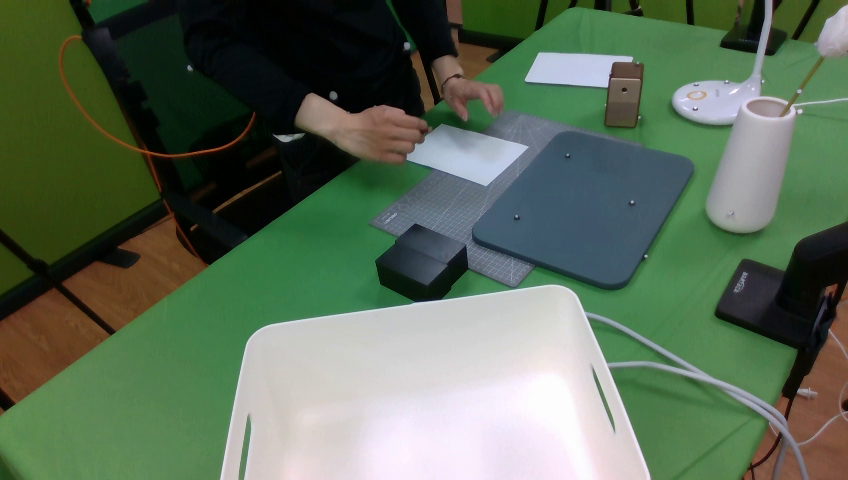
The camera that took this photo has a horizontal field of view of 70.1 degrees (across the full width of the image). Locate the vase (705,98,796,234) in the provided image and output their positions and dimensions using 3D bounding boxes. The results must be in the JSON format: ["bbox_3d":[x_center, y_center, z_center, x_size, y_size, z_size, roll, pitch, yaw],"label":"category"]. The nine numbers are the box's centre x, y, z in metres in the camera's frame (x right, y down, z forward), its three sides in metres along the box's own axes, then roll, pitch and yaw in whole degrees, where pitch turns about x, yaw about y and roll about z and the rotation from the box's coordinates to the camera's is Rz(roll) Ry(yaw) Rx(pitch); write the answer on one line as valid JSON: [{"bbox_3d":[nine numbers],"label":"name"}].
[{"bbox_3d":[0.480,-0.104,0.889,0.098,0.201,0.097,-4,42,4],"label":"vase"}]

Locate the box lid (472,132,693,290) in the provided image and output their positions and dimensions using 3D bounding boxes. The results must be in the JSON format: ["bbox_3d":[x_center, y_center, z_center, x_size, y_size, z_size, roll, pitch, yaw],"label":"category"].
[{"bbox_3d":[0.273,-0.068,1.020,0.261,0.015,0.372,20,47,28],"label":"box lid"}]

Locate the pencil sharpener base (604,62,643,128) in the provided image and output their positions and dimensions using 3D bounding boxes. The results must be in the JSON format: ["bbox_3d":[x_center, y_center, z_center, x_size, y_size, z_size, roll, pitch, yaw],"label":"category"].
[{"bbox_3d":[0.390,-0.284,1.182,0.061,0.107,0.076,7,42,17],"label":"pencil sharpener base"}]

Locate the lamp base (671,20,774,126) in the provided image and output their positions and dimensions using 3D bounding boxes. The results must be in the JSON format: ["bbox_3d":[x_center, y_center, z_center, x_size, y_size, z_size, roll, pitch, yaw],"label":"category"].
[{"bbox_3d":[0.581,-0.332,1.154,0.179,0.181,0.160,2,42,7],"label":"lamp base"}]

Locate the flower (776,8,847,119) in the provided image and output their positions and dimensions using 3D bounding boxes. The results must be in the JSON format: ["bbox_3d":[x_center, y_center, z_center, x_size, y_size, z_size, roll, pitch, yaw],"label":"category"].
[{"bbox_3d":[0.476,-0.156,0.822,0.038,0.362,0.044,7,58,2],"label":"flower"}]

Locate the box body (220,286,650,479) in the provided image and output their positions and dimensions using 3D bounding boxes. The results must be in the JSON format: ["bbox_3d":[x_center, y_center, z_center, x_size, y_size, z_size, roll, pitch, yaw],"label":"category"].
[{"bbox_3d":[0.006,0.210,0.618,0.364,0.161,0.252,-8,40,-1],"label":"box body"}]

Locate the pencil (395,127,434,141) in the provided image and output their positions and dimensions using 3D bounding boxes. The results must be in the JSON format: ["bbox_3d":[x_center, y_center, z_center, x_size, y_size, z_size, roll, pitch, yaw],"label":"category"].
[{"bbox_3d":[-0.017,-0.178,1.009,0.012,0.012,0.193,-22,11,-17],"label":"pencil"}]

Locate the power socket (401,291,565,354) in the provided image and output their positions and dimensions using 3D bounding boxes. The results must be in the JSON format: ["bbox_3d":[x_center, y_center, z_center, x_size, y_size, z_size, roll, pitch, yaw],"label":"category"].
[{"bbox_3d":[0.079,0.111,0.823,0.227,0.033,0.072,-5,41,1],"label":"power socket"}]

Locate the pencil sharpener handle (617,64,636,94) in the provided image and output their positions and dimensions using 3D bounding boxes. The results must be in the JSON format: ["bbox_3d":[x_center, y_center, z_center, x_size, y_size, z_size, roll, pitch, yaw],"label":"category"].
[{"bbox_3d":[0.401,-0.327,1.211,0.036,0.068,0.030,16,44,8],"label":"pencil sharpener handle"}]

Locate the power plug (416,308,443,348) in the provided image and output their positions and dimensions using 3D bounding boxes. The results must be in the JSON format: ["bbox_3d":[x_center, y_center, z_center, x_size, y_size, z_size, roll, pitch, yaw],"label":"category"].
[{"bbox_3d":[0.004,0.121,0.787,0.035,0.053,0.072,2,46,8],"label":"power plug"}]
